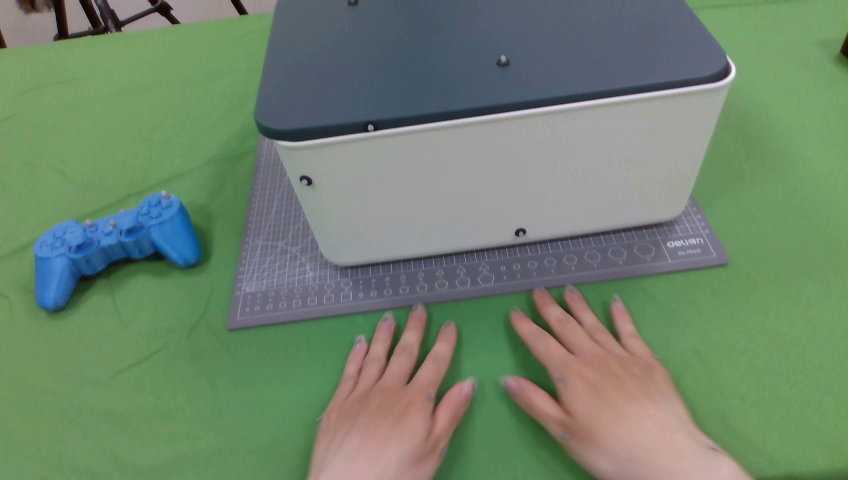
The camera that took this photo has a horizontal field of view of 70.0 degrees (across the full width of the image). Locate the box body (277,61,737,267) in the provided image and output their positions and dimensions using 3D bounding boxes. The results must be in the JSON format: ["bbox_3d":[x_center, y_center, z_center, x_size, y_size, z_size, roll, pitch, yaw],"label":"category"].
[{"bbox_3d":[0.060,-0.127,0.589,0.364,0.162,0.251,-8,46,0],"label":"box body"}]

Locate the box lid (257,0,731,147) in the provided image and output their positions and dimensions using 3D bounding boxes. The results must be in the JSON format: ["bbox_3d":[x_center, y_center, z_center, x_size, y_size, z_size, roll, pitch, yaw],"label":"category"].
[{"bbox_3d":[0.042,-0.186,0.538,0.371,0.015,0.260,-9,45,1],"label":"box lid"}]

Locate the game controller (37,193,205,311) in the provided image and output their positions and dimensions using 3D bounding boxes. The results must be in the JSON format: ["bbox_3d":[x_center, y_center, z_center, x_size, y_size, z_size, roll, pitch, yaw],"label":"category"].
[{"bbox_3d":[-0.303,0.003,0.600,0.155,0.052,0.096,-18,44,-10],"label":"game controller"}]
